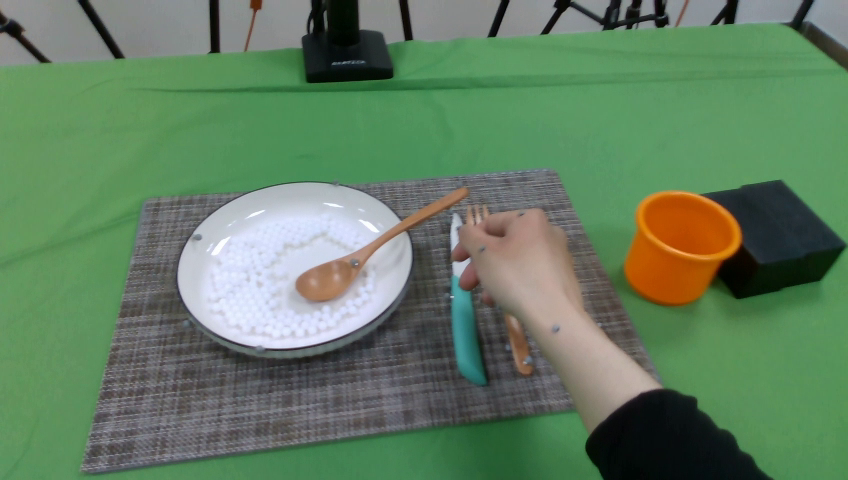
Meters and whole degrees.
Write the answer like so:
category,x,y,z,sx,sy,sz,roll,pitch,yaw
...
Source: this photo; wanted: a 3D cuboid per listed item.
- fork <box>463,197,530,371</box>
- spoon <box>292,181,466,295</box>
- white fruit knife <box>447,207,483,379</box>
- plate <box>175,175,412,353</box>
category,x,y,z,sx,sy,sz,roll,pitch,yaw
fork,0.067,0.032,0.568,0.028,0.019,0.205,4,43,-17
spoon,-0.036,-0.006,0.565,0.194,0.022,0.041,-34,55,-16
white fruit knife,0.033,0.038,0.565,0.027,0.016,0.205,24,38,-23
plate,-0.115,0.019,0.556,0.209,0.038,0.207,2,45,-1
